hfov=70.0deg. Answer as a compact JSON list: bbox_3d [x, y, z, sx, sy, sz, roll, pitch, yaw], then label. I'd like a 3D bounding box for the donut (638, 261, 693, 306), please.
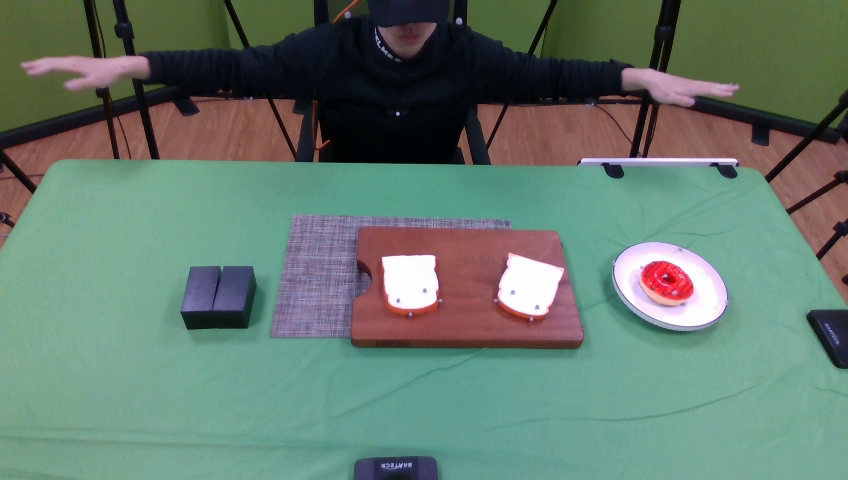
[{"bbox_3d":[0.451,0.081,1.131,0.099,0.048,0.098,4,44,-3],"label":"donut"}]

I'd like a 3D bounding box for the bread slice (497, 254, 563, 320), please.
[{"bbox_3d":[0.189,0.087,1.095,0.107,0.018,0.134,15,45,10],"label":"bread slice"}]

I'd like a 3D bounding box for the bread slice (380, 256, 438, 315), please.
[{"bbox_3d":[-0.024,0.079,1.087,0.105,0.019,0.130,-3,45,-5],"label":"bread slice"}]

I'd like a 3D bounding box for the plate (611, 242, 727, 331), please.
[{"bbox_3d":[0.455,0.090,1.138,0.209,0.038,0.208,3,45,-2],"label":"plate"}]
